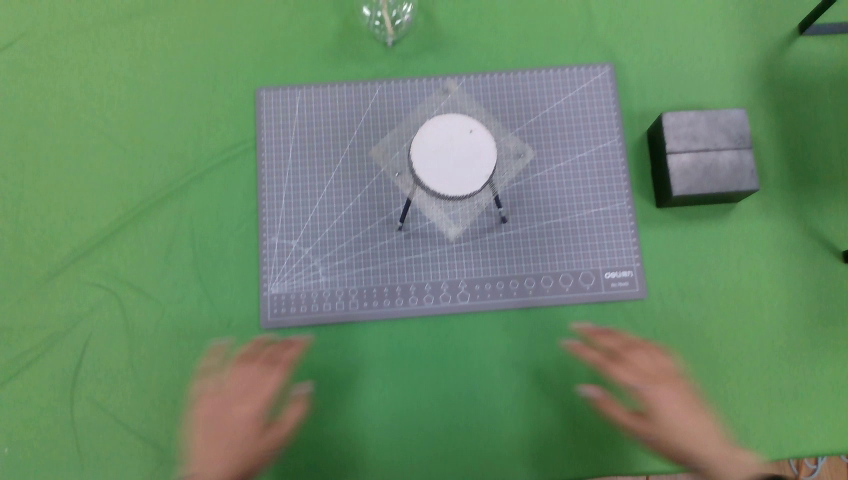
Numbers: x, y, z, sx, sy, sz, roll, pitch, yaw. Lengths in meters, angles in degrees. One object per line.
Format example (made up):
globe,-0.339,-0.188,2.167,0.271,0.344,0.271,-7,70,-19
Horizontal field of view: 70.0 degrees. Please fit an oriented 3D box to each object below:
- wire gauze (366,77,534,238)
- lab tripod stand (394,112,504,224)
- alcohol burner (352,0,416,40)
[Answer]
wire gauze,0.025,-0.086,0.601,0.121,0.011,0.124,-44,82,-9
lab tripod stand,0.030,-0.072,0.666,0.148,0.132,0.147,1,77,-2
alcohol burner,-0.048,-0.294,0.726,0.078,0.119,0.077,1,78,-2
